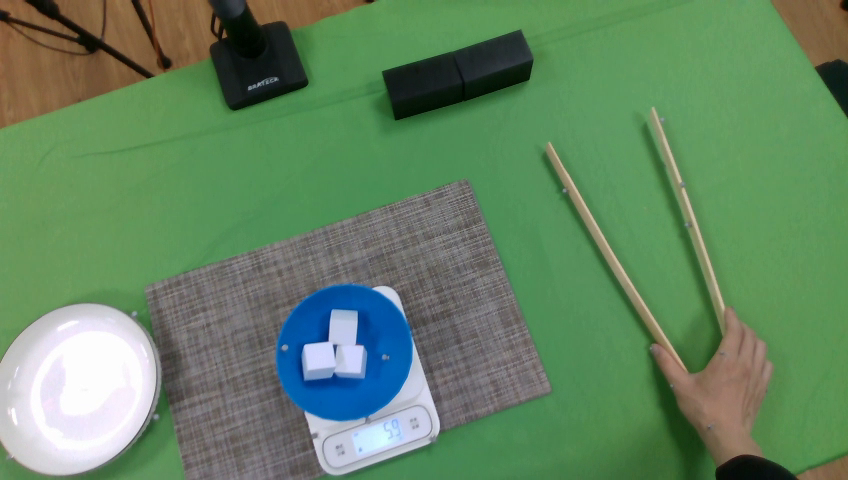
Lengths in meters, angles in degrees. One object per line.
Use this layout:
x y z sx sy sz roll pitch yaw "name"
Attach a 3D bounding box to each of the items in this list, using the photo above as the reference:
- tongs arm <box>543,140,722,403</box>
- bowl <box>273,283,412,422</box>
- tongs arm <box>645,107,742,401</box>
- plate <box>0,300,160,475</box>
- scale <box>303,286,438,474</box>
0.251 0.033 0.768 0.028 0.028 0.385 -25 74 -8 "tongs arm"
-0.087 0.131 0.690 0.151 0.077 0.150 0 73 1 "bowl"
0.327 0.008 0.769 0.051 0.026 0.382 -14 74 -2 "tongs arm"
-0.424 0.178 0.745 0.207 0.039 0.206 -1 73 2 "plate"
-0.079 0.165 0.734 0.149 0.032 0.199 -18 74 -3 "scale"
